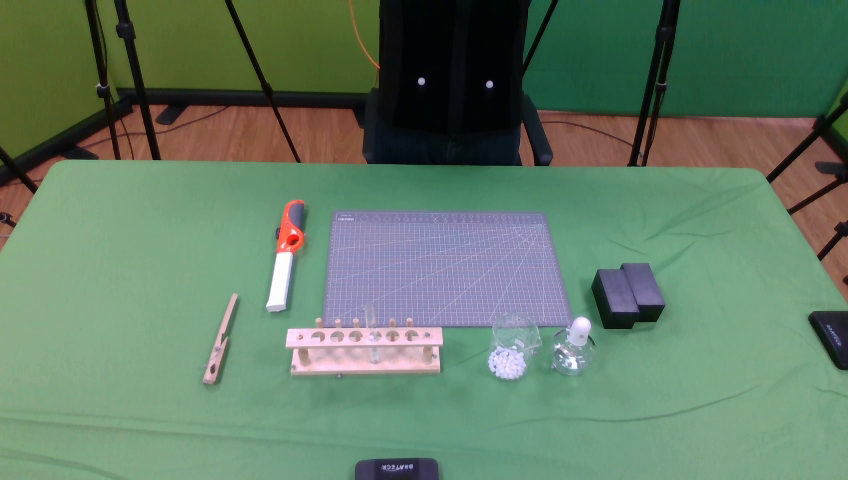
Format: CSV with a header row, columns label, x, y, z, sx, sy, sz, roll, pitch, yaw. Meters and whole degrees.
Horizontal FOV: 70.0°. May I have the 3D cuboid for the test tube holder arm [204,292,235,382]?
label,x,y,z,sx,sy,sz,roll,pitch,yaw
test tube holder arm,-0.343,0.159,1.020,0.013,0.015,0.177,27,39,-26

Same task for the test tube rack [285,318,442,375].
label,x,y,z,sx,sy,sz,roll,pitch,yaw
test tube rack,-0.095,0.168,0.986,0.242,0.085,0.066,0,46,-4

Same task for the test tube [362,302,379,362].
label,x,y,z,sx,sy,sz,roll,pitch,yaw
test tube,-0.082,0.146,0.939,0.017,0.151,0.017,0,48,1

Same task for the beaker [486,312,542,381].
label,x,y,z,sx,sy,sz,roll,pitch,yaw
beaker,0.144,0.177,0.985,0.084,0.101,0.074,22,49,16

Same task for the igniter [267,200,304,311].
label,x,y,z,sx,sy,sz,roll,pitch,yaw
igniter,-0.263,0.020,1.156,0.057,0.025,0.274,-6,46,4

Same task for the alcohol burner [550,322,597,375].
label,x,y,z,sx,sy,sz,roll,pitch,yaw
alcohol burner,0.248,0.168,0.991,0.078,0.119,0.077,2,48,-2

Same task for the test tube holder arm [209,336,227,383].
label,x,y,z,sx,sy,sz,roll,pitch,yaw
test tube holder arm,-0.338,0.193,0.991,0.010,0.015,0.087,28,39,-25

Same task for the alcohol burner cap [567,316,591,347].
label,x,y,z,sx,sy,sz,roll,pitch,yaw
alcohol burner cap,0.249,0.143,0.965,0.034,0.048,0.033,4,40,-3
